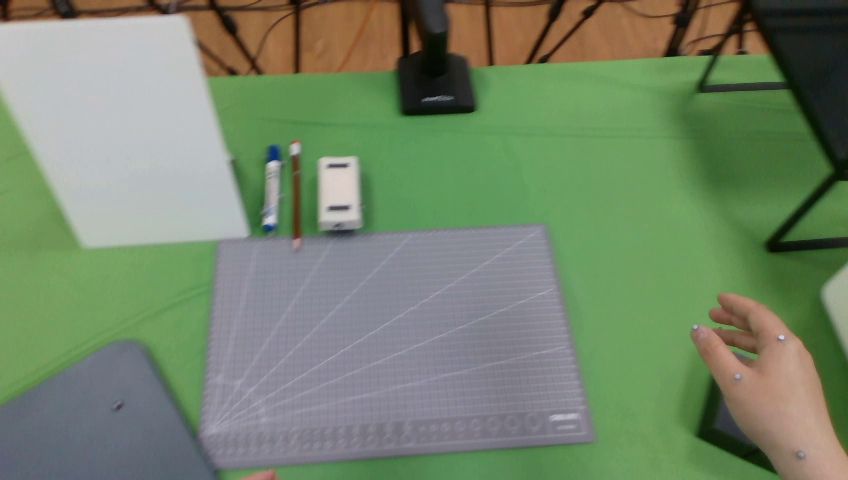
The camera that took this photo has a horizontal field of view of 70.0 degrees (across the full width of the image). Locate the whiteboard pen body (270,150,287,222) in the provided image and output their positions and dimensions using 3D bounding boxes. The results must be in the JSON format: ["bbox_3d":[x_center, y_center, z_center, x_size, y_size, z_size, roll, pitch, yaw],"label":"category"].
[{"bbox_3d":[-0.203,-0.087,0.851,0.017,0.017,0.139,-2,60,-3],"label":"whiteboard pen body"}]

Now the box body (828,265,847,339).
[{"bbox_3d":[0.656,0.159,0.662,0.254,0.161,0.360,-3,61,-3],"label":"box body"}]

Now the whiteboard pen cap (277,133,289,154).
[{"bbox_3d":[-0.205,-0.138,0.879,0.018,0.018,0.033,-4,59,-4],"label":"whiteboard pen cap"}]

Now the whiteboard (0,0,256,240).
[{"bbox_3d":[-0.337,-0.166,0.760,0.217,0.308,0.142,-3,41,-3],"label":"whiteboard"}]

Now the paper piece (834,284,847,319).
[{"bbox_3d":[0.604,0.115,0.762,0.135,0.004,0.134,0,60,-4],"label":"paper piece"}]

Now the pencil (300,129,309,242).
[{"bbox_3d":[-0.167,-0.080,0.852,0.012,0.012,0.192,-5,61,-5],"label":"pencil"}]

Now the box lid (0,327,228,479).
[{"bbox_3d":[-0.347,0.289,0.637,0.263,0.015,0.368,-31,67,-18],"label":"box lid"}]

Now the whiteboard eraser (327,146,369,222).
[{"bbox_3d":[-0.106,-0.077,0.836,0.055,0.042,0.111,-4,61,-3],"label":"whiteboard eraser"}]

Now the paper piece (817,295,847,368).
[{"bbox_3d":[0.605,0.123,0.781,0.136,0.009,0.137,-8,52,12],"label":"paper piece"}]
